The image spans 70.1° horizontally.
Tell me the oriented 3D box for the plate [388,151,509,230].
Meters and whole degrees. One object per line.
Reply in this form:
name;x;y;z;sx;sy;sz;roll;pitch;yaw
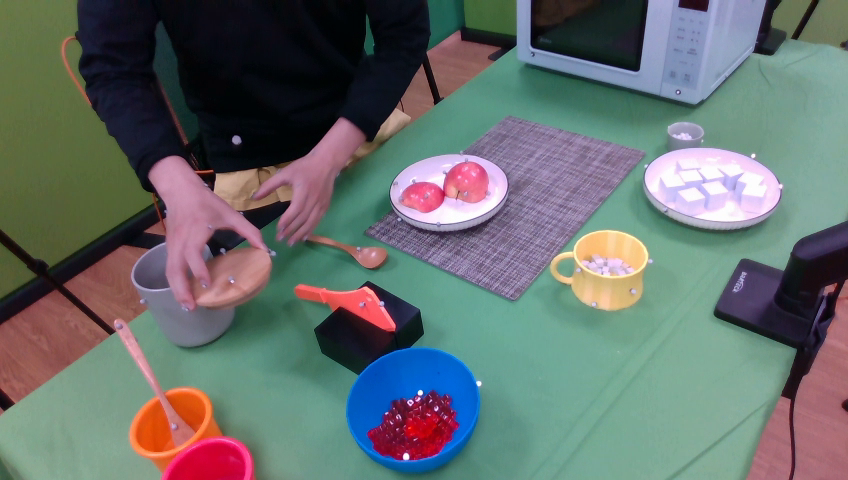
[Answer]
plate;0.044;-0.082;1.042;0.209;0.038;0.208;-4;40;4

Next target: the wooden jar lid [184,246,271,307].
wooden jar lid;-0.241;0.046;0.751;0.108;0.021;0.108;-9;34;6

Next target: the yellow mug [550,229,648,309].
yellow mug;0.245;0.040;0.857;0.130;0.064;0.099;1;42;11

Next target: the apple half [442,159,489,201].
apple half;0.074;-0.110;1.047;0.080;0.053;0.075;21;45;30

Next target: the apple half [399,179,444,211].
apple half;-0.004;-0.088;1.045;0.081;0.033;0.081;-2;43;2

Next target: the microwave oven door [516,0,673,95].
microwave oven door;0.344;-0.458;1.256;0.353;0.245;0.039;26;51;33

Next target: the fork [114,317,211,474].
fork;-0.309;0.179;0.708;0.028;0.018;0.207;-30;89;-24

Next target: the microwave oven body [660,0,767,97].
microwave oven body;0.473;-0.517;1.313;0.438;0.261;0.327;26;52;34

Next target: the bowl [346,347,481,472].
bowl;-0.008;0.205;0.691;0.151;0.077;0.150;-4;40;4

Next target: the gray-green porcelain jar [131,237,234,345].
gray-green porcelain jar;-0.332;0.077;0.849;0.106;0.127;0.105;-4;41;4

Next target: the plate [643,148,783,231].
plate;0.464;-0.079;0.986;0.207;0.039;0.206;-4;40;4

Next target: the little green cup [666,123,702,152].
little green cup;0.472;-0.183;1.102;0.061;0.039;0.061;-5;41;5

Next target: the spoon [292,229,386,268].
spoon;-0.141;0.007;0.982;0.192;0.022;0.041;17;70;25

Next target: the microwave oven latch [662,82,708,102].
microwave oven latch;0.517;-0.298;1.203;0.078;0.029;0.030;28;52;35

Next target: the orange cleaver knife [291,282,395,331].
orange cleaver knife;-0.115;0.091;0.835;0.209;0.077;0.012;2;33;48
